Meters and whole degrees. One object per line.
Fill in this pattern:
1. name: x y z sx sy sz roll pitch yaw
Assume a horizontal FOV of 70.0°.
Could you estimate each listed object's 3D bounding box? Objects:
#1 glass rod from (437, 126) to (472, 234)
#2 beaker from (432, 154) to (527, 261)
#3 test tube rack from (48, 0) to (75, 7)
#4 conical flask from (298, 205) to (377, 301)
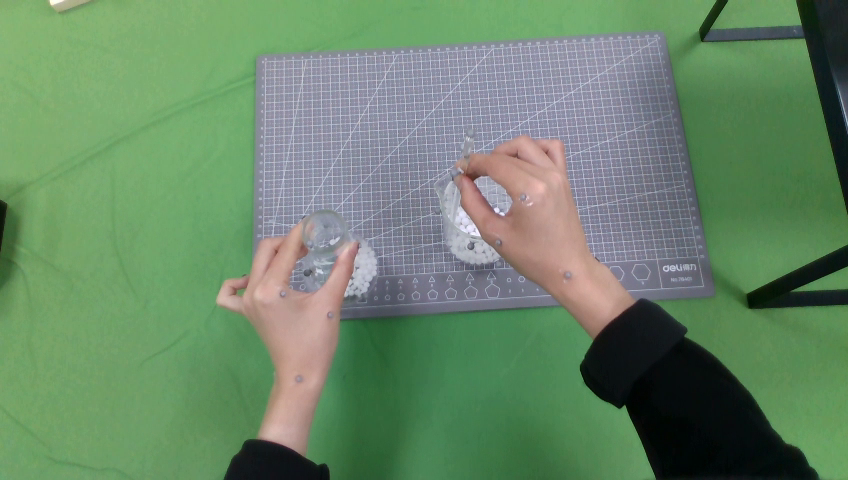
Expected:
1. glass rod: 0.023 -0.042 0.503 0.008 0.200 0.008 1 70 -4
2. beaker: 0.048 -0.026 0.562 0.084 0.101 0.073 20 74 8
3. test tube rack: -0.327 -0.355 0.673 0.242 0.085 0.066 -24 74 -6
4. conical flask: -0.083 0.007 0.541 0.075 0.122 0.075 0 72 -1
